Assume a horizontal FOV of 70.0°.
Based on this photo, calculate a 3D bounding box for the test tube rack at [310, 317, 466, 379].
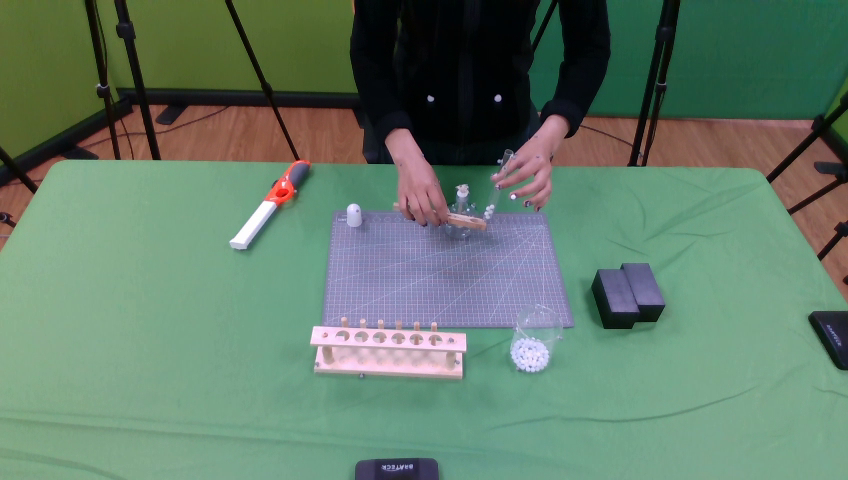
[{"bbox_3d":[-0.056,0.171,0.986,0.242,0.085,0.066,3,45,-1],"label":"test tube rack"}]

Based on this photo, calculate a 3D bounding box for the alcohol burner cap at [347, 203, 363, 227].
[{"bbox_3d":[-0.141,-0.053,1.222,0.034,0.048,0.033,2,47,-2],"label":"alcohol burner cap"}]

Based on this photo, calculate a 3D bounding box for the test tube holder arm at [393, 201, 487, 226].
[{"bbox_3d":[0.030,-0.047,1.132,0.178,0.015,0.013,12,42,5],"label":"test tube holder arm"}]

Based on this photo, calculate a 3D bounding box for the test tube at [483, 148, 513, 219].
[{"bbox_3d":[0.127,-0.095,1.050,0.017,0.151,0.017,8,43,-7],"label":"test tube"}]

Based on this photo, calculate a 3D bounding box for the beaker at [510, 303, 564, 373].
[{"bbox_3d":[0.182,0.164,1.000,0.074,0.101,0.083,2,46,-1],"label":"beaker"}]

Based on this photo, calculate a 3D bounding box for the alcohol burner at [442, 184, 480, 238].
[{"bbox_3d":[0.073,-0.062,1.195,0.078,0.120,0.077,1,47,-1],"label":"alcohol burner"}]

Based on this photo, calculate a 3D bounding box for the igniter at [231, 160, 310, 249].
[{"bbox_3d":[-0.311,-0.081,1.250,0.057,0.025,0.275,9,45,18],"label":"igniter"}]

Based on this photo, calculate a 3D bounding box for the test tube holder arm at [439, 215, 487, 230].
[{"bbox_3d":[0.073,-0.034,1.124,0.088,0.015,0.010,12,42,5],"label":"test tube holder arm"}]
